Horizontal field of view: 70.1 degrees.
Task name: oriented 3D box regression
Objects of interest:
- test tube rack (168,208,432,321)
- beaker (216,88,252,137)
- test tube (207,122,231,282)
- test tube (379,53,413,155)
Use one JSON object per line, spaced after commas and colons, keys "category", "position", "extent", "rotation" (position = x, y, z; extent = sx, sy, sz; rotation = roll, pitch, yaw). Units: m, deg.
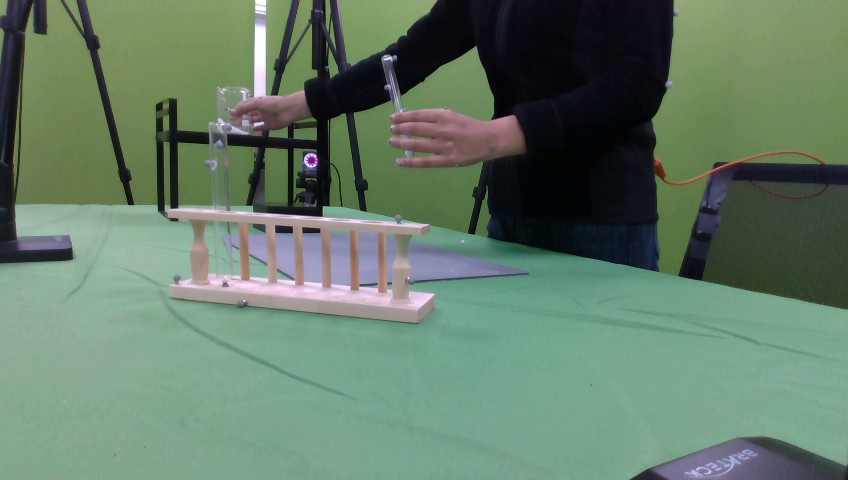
{"category": "test tube rack", "position": [-0.116, 0.017, 0.574], "extent": [0.242, 0.085, 0.067], "rotation": [4, 8, 13]}
{"category": "beaker", "position": [-0.412, -0.276, 1.310], "extent": [0.074, 0.100, 0.084], "rotation": [4, 9, 16]}
{"category": "test tube", "position": [-0.191, -0.034, 0.565], "extent": [0.017, 0.150, 0.017], "rotation": [1, 11, 0]}
{"category": "test tube", "position": [-0.040, -0.195, 0.875], "extent": [0.017, 0.150, 0.017], "rotation": [-14, 1, 1]}
